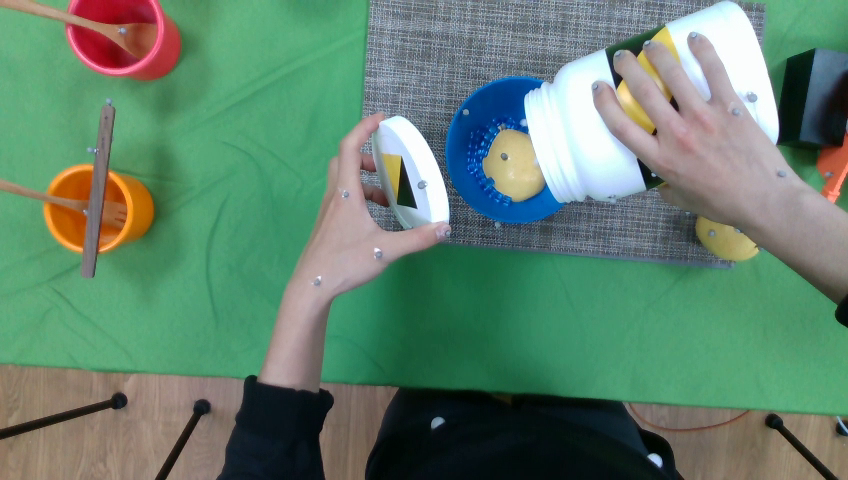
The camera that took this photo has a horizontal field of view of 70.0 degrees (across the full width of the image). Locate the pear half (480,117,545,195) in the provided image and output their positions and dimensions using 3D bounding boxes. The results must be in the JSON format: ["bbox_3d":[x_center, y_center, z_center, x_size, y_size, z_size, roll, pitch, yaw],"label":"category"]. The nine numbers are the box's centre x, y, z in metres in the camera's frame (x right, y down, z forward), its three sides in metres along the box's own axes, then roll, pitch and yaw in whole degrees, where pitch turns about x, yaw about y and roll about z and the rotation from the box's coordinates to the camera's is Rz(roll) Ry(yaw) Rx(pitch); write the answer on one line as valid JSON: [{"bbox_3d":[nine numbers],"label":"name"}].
[{"bbox_3d":[0.097,-0.093,0.651,0.070,0.031,0.088,-21,92,-4],"label":"pear half"}]

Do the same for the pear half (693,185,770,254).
[{"bbox_3d":[0.332,-0.020,0.658,0.056,0.110,0.076,-14,91,0],"label":"pear half"}]

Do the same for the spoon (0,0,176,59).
[{"bbox_3d":[-0.346,-0.222,0.599,0.195,0.021,0.041,6,99,-46],"label":"spoon"}]

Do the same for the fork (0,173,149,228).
[{"bbox_3d":[-0.382,-0.050,0.610,0.209,0.018,0.028,21,105,-47],"label":"fork"}]

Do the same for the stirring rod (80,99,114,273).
[{"bbox_3d":[-0.329,-0.053,0.610,0.014,0.006,0.176,9,95,-6],"label":"stirring rod"}]

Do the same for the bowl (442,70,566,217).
[{"bbox_3d":[0.093,-0.101,0.656,0.151,0.076,0.151,0,95,-2],"label":"bowl"}]

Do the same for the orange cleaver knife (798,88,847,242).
[{"bbox_3d":[0.458,-0.098,0.673,0.012,0.076,0.213,7,123,3],"label":"orange cleaver knife"}]

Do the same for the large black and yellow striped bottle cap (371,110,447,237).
[{"bbox_3d":[-0.015,-0.058,0.542,0.019,0.114,0.115,-23,95,-19],"label":"large black and yellow striped bottle cap"}]

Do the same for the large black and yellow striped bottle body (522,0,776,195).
[{"bbox_3d":[0.191,-0.117,0.533,0.183,0.131,0.131,-17,95,22],"label":"large black and yellow striped bottle body"}]
